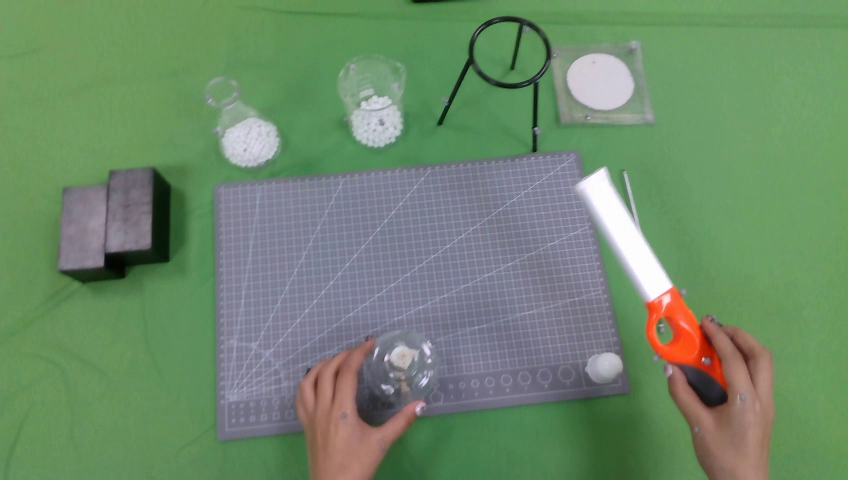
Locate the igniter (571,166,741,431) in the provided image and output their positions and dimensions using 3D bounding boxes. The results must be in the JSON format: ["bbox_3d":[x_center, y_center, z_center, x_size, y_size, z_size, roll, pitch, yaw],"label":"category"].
[{"bbox_3d":[0.221,0.057,0.569,0.057,0.025,0.277,-32,93,-6],"label":"igniter"}]

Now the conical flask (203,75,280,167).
[{"bbox_3d":[-0.215,-0.141,0.696,0.075,0.122,0.075,0,72,-1],"label":"conical flask"}]

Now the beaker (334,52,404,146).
[{"bbox_3d":[-0.060,-0.164,0.720,0.084,0.101,0.073,-32,75,-11],"label":"beaker"}]

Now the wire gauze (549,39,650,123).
[{"bbox_3d":[0.227,-0.208,0.788,0.125,0.011,0.120,-1,73,-3],"label":"wire gauze"}]

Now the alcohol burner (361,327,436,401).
[{"bbox_3d":[-0.026,0.124,0.619,0.078,0.120,0.077,1,70,-2],"label":"alcohol burner"}]

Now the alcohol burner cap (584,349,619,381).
[{"bbox_3d":[0.195,0.134,0.658,0.034,0.048,0.033,1,71,-1],"label":"alcohol burner cap"}]

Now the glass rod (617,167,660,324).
[{"bbox_3d":[0.255,0.002,0.722,0.008,0.008,0.198,-7,73,-4],"label":"glass rod"}]

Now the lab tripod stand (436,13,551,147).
[{"bbox_3d":[0.088,-0.185,0.712,0.148,0.132,0.147,0,74,0],"label":"lab tripod stand"}]
